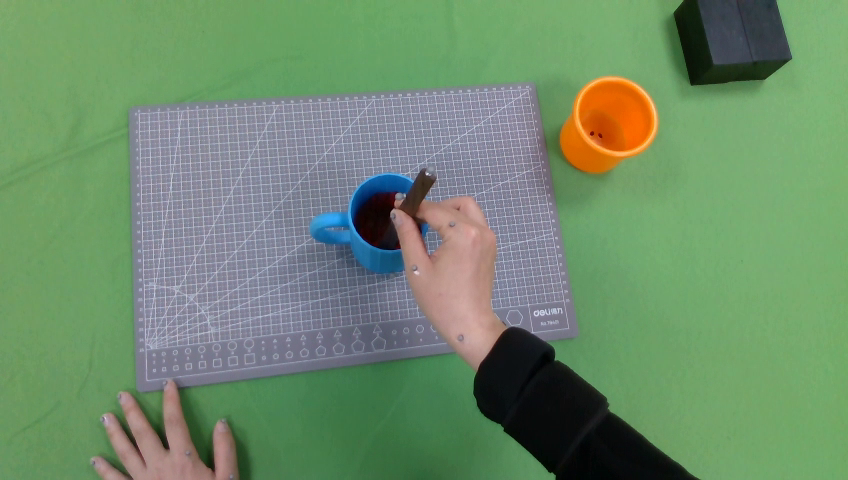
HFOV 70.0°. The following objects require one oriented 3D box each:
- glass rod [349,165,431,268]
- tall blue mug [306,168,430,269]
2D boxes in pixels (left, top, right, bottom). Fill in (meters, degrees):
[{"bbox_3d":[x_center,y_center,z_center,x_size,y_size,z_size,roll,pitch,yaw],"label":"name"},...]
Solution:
[{"bbox_3d":[-0.034,-0.013,0.521,0.008,0.200,0.008,10,63,-20],"label":"glass rod"},{"bbox_3d":[-0.052,-0.011,0.594,0.107,0.108,0.077,-29,83,-12],"label":"tall blue mug"}]
